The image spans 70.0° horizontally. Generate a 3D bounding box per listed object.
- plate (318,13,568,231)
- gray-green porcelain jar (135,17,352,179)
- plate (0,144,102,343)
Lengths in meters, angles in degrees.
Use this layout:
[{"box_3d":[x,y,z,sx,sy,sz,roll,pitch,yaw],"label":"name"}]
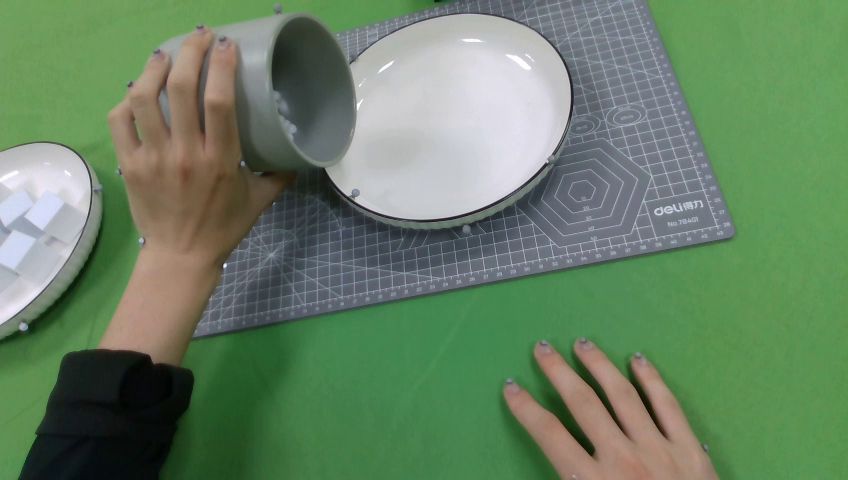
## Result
[{"box_3d":[0.012,-0.095,0.489,0.209,0.038,0.207,-7,61,13],"label":"plate"},{"box_3d":[-0.134,-0.099,0.446,0.126,0.107,0.105,-1,62,24],"label":"gray-green porcelain jar"},{"box_3d":[-0.382,0.007,0.550,0.207,0.039,0.206,-7,61,12],"label":"plate"}]
